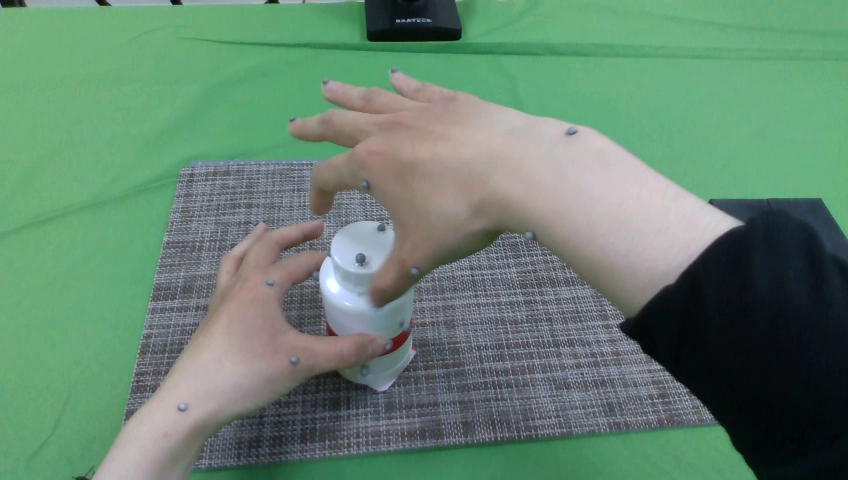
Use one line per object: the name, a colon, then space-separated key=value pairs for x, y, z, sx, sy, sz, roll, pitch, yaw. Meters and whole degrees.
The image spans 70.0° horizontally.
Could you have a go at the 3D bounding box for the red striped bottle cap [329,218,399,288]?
red striped bottle cap: x=-0.037 y=0.007 z=0.378 sx=0.044 sy=0.018 sz=0.044 roll=3 pitch=52 yaw=-4

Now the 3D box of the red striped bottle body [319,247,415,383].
red striped bottle body: x=-0.039 y=0.044 z=0.420 sx=0.063 sy=0.120 sz=0.062 roll=2 pitch=49 yaw=-2
